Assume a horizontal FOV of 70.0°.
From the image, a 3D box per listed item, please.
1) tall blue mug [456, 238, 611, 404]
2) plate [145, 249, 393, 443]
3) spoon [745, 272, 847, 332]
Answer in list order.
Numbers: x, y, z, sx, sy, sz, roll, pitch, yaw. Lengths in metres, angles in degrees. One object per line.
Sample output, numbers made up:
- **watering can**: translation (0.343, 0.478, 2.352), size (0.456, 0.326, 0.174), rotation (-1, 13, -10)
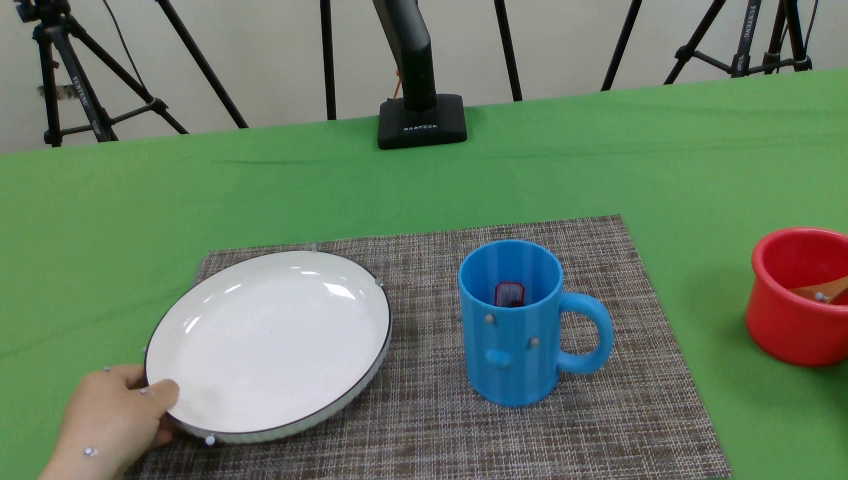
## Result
- **tall blue mug**: translation (0.082, 0.061, 0.470), size (0.107, 0.109, 0.077), rotation (-10, 38, -2)
- **plate**: translation (-0.129, 0.089, 0.527), size (0.207, 0.039, 0.205), rotation (-4, 39, 3)
- **spoon**: translation (0.338, 0.023, 0.454), size (0.022, 0.194, 0.041), rotation (34, 42, -22)
